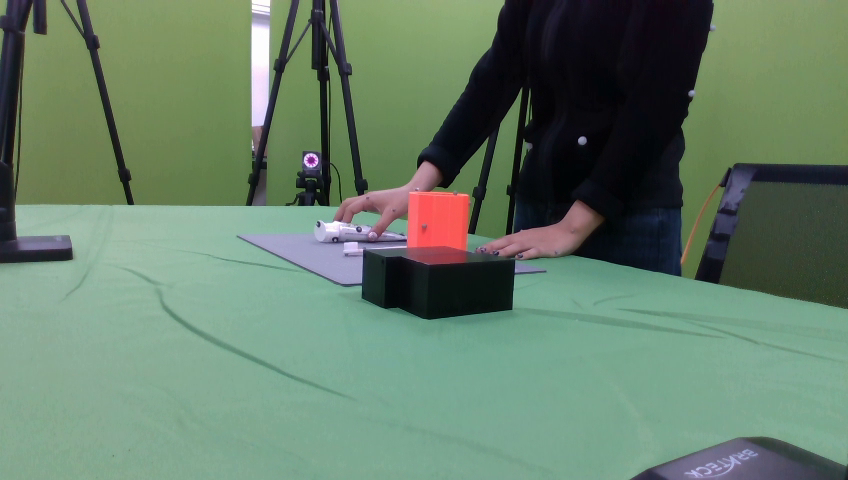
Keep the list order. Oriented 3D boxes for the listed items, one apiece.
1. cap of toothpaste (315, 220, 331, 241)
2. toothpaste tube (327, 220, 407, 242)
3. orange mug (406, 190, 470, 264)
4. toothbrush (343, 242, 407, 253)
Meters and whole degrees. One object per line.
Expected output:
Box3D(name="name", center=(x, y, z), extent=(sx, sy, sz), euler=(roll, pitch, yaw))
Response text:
Box3D(name="cap of toothpaste", center=(-0.164, -0.016, 0.982), extent=(0.011, 0.037, 0.037), euler=(-8, 12, -43))
Box3D(name="toothpaste tube", center=(-0.095, -0.013, 1.026), extent=(0.166, 0.034, 0.055), euler=(2, 13, -33))
Box3D(name="orange mug", center=(0.027, -0.023, 0.866), extent=(0.083, 0.101, 0.126), euler=(6, 12, 24))
Box3D(name="toothbrush", center=(-0.040, 0.010, 0.905), extent=(0.183, 0.016, 0.014), euler=(-1, -7, -36))
